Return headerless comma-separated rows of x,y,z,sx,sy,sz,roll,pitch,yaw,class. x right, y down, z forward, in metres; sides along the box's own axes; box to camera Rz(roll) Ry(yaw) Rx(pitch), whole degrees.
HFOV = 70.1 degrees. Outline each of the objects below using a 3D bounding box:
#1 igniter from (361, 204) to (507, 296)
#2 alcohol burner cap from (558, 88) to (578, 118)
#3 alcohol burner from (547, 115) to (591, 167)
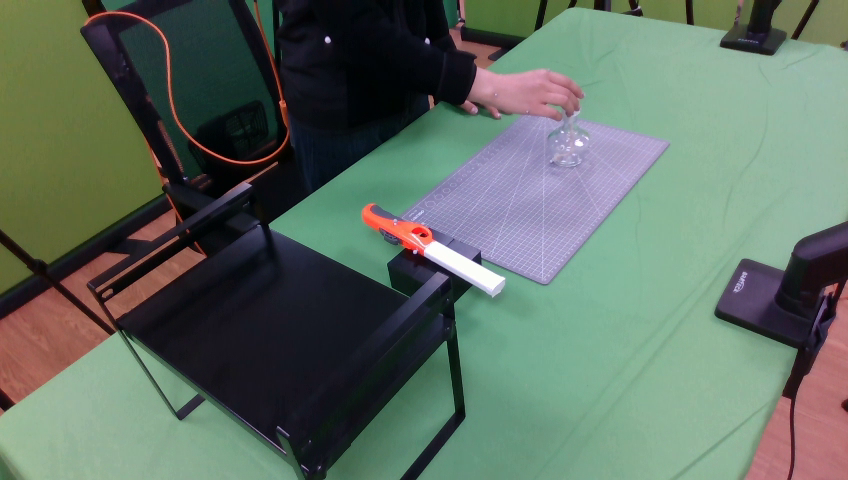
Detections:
0.003,0.008,0.889,0.274,0.025,0.057,29,49,33,igniter
0.247,-0.238,1.040,0.034,0.048,0.033,-5,30,3,alcohol burner cap
0.261,-0.192,1.087,0.078,0.119,0.077,-5,42,5,alcohol burner
